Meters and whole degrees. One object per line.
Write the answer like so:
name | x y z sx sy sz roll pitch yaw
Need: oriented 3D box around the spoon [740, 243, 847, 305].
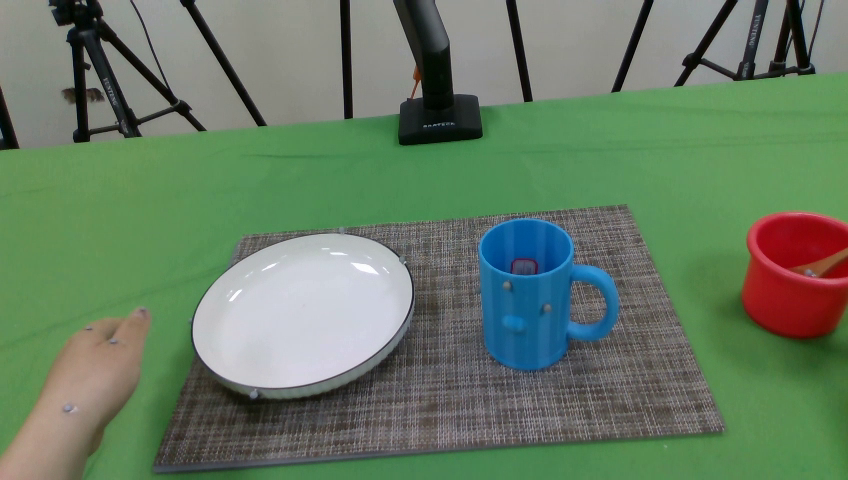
spoon | 0.358 0.006 0.500 0.022 0.194 0.041 37 40 -18

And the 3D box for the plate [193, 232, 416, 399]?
plate | -0.109 0.070 0.578 0.207 0.039 0.205 -4 38 4

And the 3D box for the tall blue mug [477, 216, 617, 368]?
tall blue mug | 0.101 0.043 0.518 0.107 0.109 0.077 -9 38 -2
